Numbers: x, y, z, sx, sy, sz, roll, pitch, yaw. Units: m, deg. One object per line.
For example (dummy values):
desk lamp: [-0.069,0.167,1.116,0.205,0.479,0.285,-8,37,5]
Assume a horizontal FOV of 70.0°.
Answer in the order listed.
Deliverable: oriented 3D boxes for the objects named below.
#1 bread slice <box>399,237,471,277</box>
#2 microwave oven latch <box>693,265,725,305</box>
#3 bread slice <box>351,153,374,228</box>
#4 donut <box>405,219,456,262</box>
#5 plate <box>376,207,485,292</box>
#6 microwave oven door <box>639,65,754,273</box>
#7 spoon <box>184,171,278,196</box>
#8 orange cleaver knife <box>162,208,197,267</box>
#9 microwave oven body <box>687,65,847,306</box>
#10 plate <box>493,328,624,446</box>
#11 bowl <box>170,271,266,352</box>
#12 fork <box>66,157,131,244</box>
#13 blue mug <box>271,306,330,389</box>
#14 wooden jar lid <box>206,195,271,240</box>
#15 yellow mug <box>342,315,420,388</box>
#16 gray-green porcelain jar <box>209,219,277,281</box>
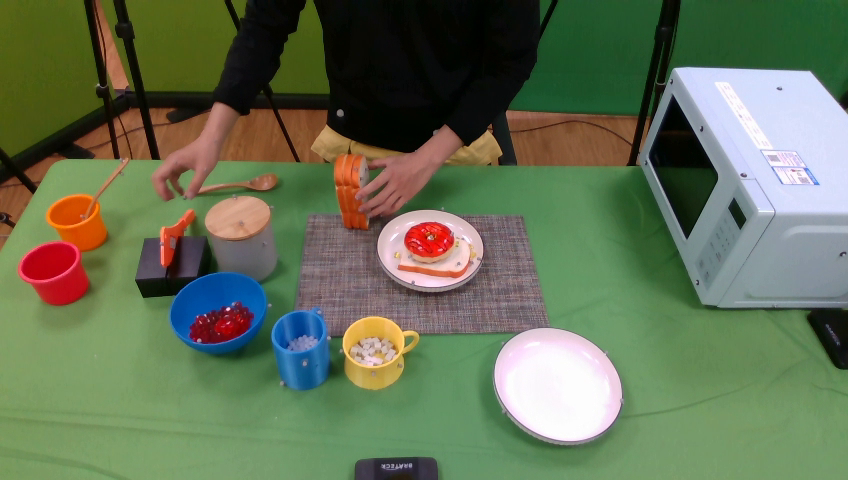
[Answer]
bread slice: [0.025,0.025,1.161,0.131,0.019,0.104,7,47,8]
microwave oven latch: [0.523,0.081,1.115,0.030,0.029,0.078,2,46,-1]
bread slice: [-0.122,-0.104,1.207,0.018,0.135,0.106,-2,47,6]
donut: [0.012,-0.001,1.140,0.099,0.048,0.098,0,44,0]
plate: [0.012,0.021,1.159,0.209,0.038,0.208,2,47,-2]
microwave oven door: [0.522,-0.147,1.192,0.039,0.245,0.353,0,47,-3]
spoon: [-0.405,-0.117,1.275,0.194,0.022,0.041,-8,66,-12]
orange cleaver knife: [-0.454,-0.010,1.129,0.012,0.077,0.210,0,17,-6]
microwave oven body: [0.669,-0.111,1.176,0.326,0.261,0.439,0,46,-3]
plate: [0.213,0.236,0.974,0.208,0.039,0.206,2,46,-2]
bowl: [-0.334,0.132,1.006,0.151,0.077,0.150,2,46,-2]
fork: [-0.608,-0.074,1.132,0.207,0.019,0.028,-52,48,10]
blue mug: [-0.188,0.163,0.969,0.082,0.106,0.116,15,47,10]
wooden jar lid: [-0.319,-0.036,1.046,0.108,0.021,0.107,1,44,0]
yellow mug: [-0.068,0.177,0.990,0.131,0.064,0.099,-15,50,-19]
gray-green porcelain jar: [-0.323,0.007,1.092,0.106,0.127,0.105,2,46,-2]
